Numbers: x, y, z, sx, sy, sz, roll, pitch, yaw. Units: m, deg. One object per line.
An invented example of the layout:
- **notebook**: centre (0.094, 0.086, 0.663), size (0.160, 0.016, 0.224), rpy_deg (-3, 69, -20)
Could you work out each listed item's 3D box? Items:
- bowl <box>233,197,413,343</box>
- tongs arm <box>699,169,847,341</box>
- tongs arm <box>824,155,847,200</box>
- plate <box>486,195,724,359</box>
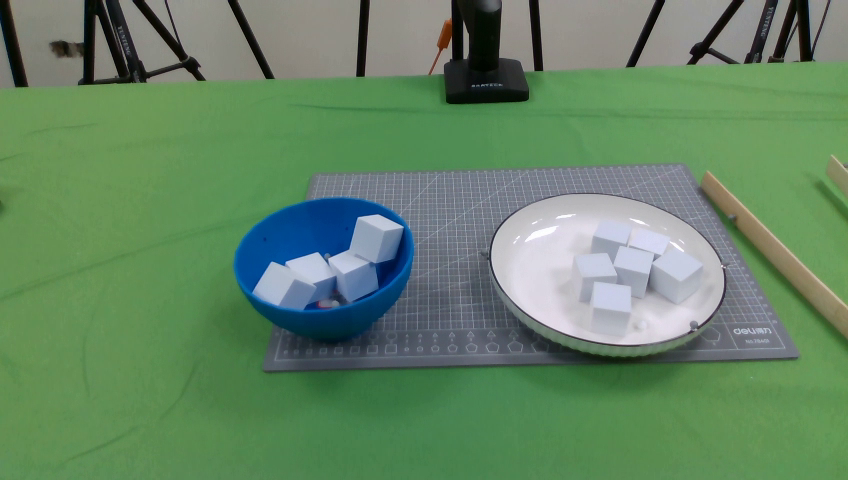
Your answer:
- **bowl**: centre (-0.082, 0.037, 0.531), size (0.151, 0.077, 0.150), rpy_deg (-1, 39, 1)
- **tongs arm**: centre (0.361, 0.047, 0.543), size (0.028, 0.028, 0.383), rpy_deg (-8, 40, -11)
- **tongs arm**: centre (0.440, 0.038, 0.545), size (0.051, 0.027, 0.381), rpy_deg (-2, 41, 1)
- **plate**: centre (0.161, 0.032, 0.558), size (0.208, 0.039, 0.205), rpy_deg (-1, 39, 1)
